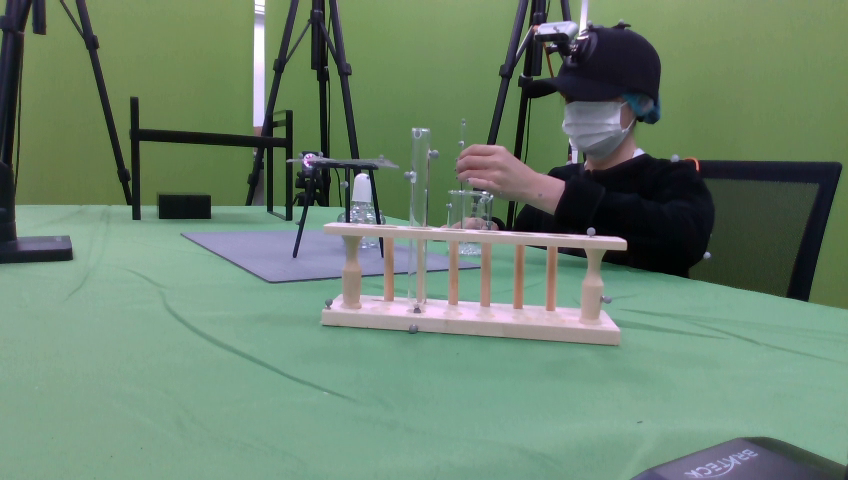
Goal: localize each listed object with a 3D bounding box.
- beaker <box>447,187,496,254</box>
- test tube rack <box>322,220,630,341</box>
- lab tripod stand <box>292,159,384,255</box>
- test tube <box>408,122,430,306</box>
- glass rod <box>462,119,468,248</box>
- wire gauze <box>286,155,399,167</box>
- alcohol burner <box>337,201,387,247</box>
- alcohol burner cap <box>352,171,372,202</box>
[{"bbox_3d":[0.076,-0.031,0.949,0.074,0.100,0.083,-6,11,-42],"label":"beaker"},{"bbox_3d":[0.041,0.029,0.512,0.242,0.085,0.067,3,7,5],"label":"test tube rack"},{"bbox_3d":[-0.105,-0.039,0.797,0.148,0.131,0.148,2,5,0],"label":"lab tripod stand"},{"bbox_3d":[-0.004,-0.019,0.489,0.017,0.150,0.017,1,11,0],"label":"test tube"},{"bbox_3d":[0.062,-0.083,0.923,0.008,0.199,0.008,-2,13,1],"label":"glass rod"},{"bbox_3d":[-0.101,-0.105,0.788,0.121,0.011,0.125,4,6,6],"label":"wire gauze"},{"bbox_3d":[-0.098,-0.049,0.954,0.078,0.119,0.078,0,7,0],"label":"alcohol burner"},{"bbox_3d":[-0.096,-0.084,0.951,0.034,0.048,0.034,6,5,0],"label":"alcohol burner cap"}]
